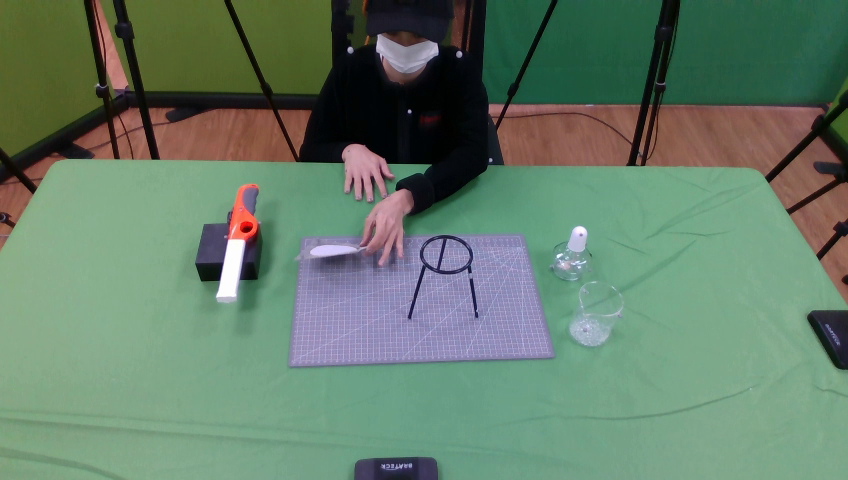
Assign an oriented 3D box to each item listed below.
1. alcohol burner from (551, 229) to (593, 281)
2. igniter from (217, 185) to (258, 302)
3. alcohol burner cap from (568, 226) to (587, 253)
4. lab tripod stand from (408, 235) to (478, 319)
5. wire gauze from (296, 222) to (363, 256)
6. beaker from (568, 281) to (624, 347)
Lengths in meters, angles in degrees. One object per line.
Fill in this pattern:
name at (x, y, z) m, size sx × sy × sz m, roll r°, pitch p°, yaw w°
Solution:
alcohol burner at (0.281, 0.021, 1.137) m, size 0.078 × 0.120 × 0.077 m, roll 1°, pitch 48°, yaw -1°
igniter at (-0.339, -0.003, 1.106) m, size 0.057 × 0.025 × 0.274 m, roll 1°, pitch 49°, yaw -6°
alcohol burner cap at (0.284, -0.003, 1.112) m, size 0.034 × 0.048 × 0.033 m, roll 1°, pitch 42°, yaw -1°
lab tripod stand at (0.032, 0.065, 1.057) m, size 0.148 × 0.132 × 0.147 m, roll 1°, pitch 45°, yaw -1°
wire gauze at (-0.179, 0.001, 1.134) m, size 0.125 × 0.011 × 0.121 m, roll -13°, pitch 21°, yaw -9°
beaker at (0.290, 0.132, 1.041) m, size 0.084 × 0.101 × 0.073 m, roll -34°, pitch 57°, yaw -31°
